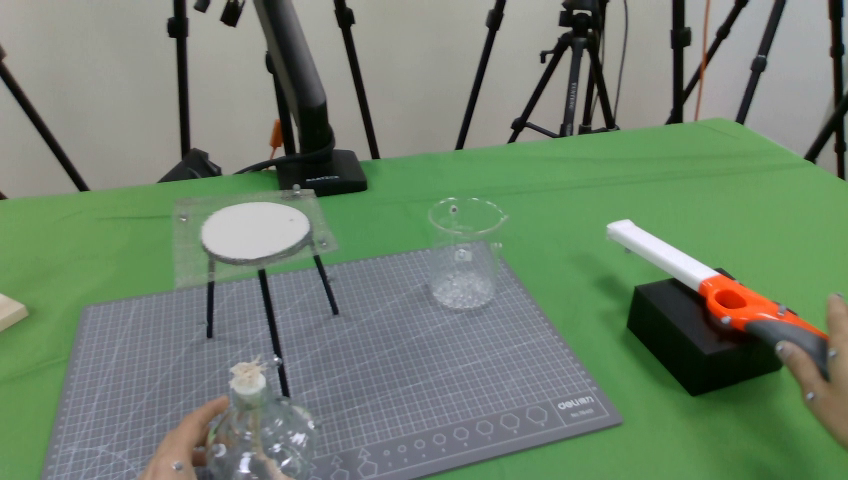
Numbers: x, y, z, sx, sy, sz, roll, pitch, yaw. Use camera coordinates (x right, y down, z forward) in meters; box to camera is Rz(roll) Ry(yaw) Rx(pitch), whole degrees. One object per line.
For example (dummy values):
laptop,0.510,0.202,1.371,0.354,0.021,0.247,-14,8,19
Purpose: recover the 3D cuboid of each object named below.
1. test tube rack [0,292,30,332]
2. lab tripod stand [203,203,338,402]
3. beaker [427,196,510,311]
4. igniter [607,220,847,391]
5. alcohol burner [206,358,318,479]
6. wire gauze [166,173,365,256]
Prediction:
test tube rack,-0.485,0.088,0.515,0.066,0.086,0.242,17,36,24
lab tripod stand,-0.135,0.047,0.535,0.148,0.132,0.147,2,33,-1
beaker,0.044,0.015,0.619,0.084,0.101,0.073,-5,33,-9
igniter,0.271,0.047,0.560,0.057,0.025,0.273,-14,32,-21
alcohol burner,-0.115,0.129,0.426,0.078,0.120,0.077,2,32,-1
wire gauze,-0.129,-0.022,0.488,0.125,0.011,0.120,-16,32,-36
